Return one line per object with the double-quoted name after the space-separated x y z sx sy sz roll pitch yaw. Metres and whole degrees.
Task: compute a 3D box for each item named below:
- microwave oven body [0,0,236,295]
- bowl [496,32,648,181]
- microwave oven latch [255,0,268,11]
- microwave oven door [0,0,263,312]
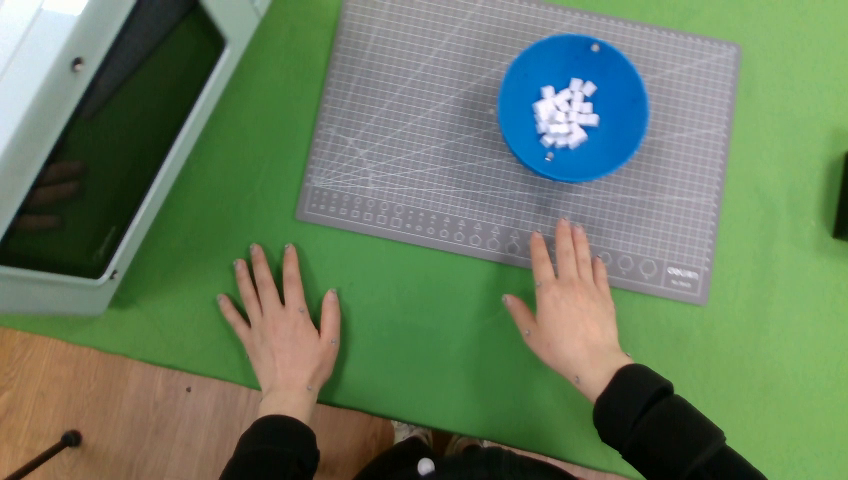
-0.375 -0.207 0.530 0.326 0.260 0.441 26 84 1 "microwave oven body"
0.145 -0.128 0.630 0.151 0.077 0.151 0 83 -1 "bowl"
-0.167 -0.288 0.644 0.030 0.029 0.079 27 84 1 "microwave oven latch"
-0.262 -0.106 0.517 0.039 0.244 0.355 26 83 2 "microwave oven door"
